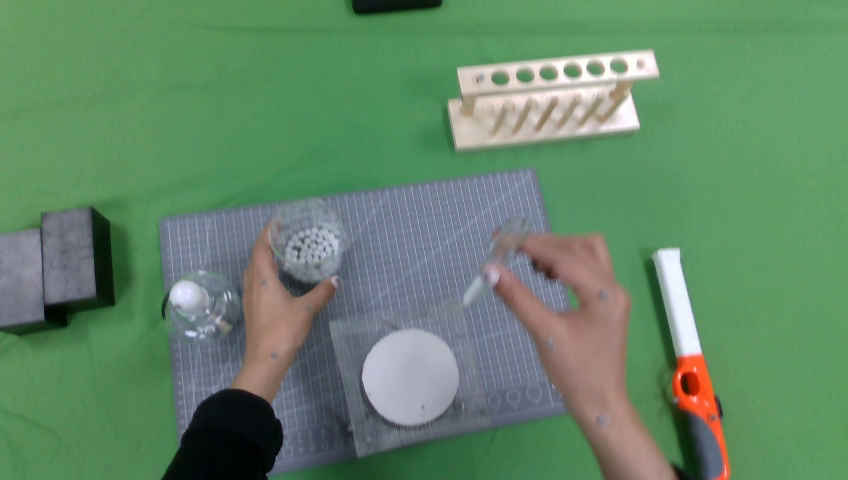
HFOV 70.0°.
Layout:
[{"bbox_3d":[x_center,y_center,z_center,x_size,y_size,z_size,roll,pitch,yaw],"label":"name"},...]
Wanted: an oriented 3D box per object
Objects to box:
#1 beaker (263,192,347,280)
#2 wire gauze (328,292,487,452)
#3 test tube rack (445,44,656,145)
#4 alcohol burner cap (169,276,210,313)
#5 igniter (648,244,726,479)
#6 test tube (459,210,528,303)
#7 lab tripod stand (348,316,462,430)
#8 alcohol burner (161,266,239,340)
[{"bbox_3d":[-0.123,0.001,0.651,0.084,0.100,0.073,15,73,-3],"label":"beaker"},{"bbox_3d":[-0.015,0.115,0.544,0.125,0.011,0.120,-10,75,-10],"label":"wire gauze"},{"bbox_3d":[0.154,-0.177,0.743,0.243,0.085,0.066,-8,75,-9],"label":"test tube rack"},{"bbox_3d":[-0.226,0.051,0.580,0.034,0.048,0.033,3,75,-10],"label":"alcohol burner cap"},{"bbox_3d":[0.305,0.139,0.704,0.057,0.025,0.275,-2,75,-17],"label":"igniter"},{"bbox_3d":[0.045,0.017,0.431,0.017,0.151,0.017,3,67,-7],"label":"test tube"},{"bbox_3d":[-0.023,0.137,0.607,0.148,0.132,0.147,1,74,-4],"label":"lab tripod stand"},{"bbox_3d":[-0.231,0.060,0.614,0.078,0.119,0.077,2,72,-5],"label":"alcohol burner"}]
